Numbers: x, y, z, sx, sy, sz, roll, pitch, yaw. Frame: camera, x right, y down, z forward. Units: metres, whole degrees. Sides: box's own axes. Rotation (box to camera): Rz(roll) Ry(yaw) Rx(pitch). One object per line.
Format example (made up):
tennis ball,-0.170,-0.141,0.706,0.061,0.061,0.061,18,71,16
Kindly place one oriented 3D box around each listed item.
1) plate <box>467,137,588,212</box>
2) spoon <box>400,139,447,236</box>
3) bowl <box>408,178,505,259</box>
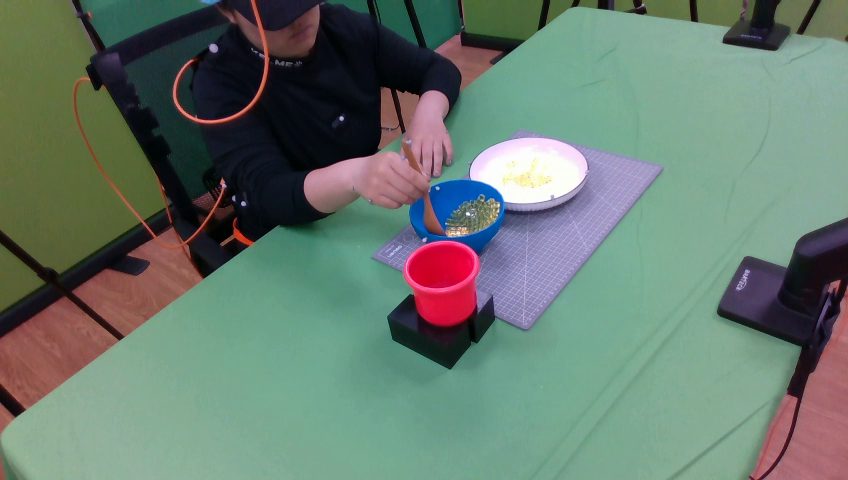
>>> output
plate,0.181,-0.112,1.064,0.207,0.039,0.206,-5,40,5
spoon,-0.001,-0.068,0.859,0.041,0.195,0.022,26,57,39
bowl,0.055,-0.023,0.951,0.151,0.077,0.150,-5,40,5
